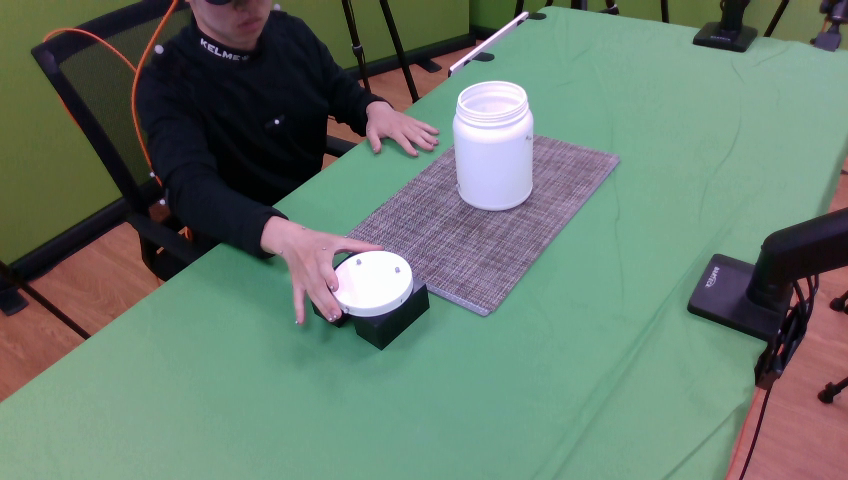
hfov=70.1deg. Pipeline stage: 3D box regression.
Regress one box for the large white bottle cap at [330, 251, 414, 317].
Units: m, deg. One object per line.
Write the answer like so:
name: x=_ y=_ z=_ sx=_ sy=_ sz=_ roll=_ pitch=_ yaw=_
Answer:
large white bottle cap: x=-0.072 y=0.059 z=0.836 sx=0.115 sy=0.018 sz=0.114 roll=-4 pitch=41 yaw=4

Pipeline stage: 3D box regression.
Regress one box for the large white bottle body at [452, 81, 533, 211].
large white bottle body: x=0.115 y=-0.156 z=1.002 sx=0.130 sy=0.185 sz=0.130 roll=-5 pitch=41 yaw=4
